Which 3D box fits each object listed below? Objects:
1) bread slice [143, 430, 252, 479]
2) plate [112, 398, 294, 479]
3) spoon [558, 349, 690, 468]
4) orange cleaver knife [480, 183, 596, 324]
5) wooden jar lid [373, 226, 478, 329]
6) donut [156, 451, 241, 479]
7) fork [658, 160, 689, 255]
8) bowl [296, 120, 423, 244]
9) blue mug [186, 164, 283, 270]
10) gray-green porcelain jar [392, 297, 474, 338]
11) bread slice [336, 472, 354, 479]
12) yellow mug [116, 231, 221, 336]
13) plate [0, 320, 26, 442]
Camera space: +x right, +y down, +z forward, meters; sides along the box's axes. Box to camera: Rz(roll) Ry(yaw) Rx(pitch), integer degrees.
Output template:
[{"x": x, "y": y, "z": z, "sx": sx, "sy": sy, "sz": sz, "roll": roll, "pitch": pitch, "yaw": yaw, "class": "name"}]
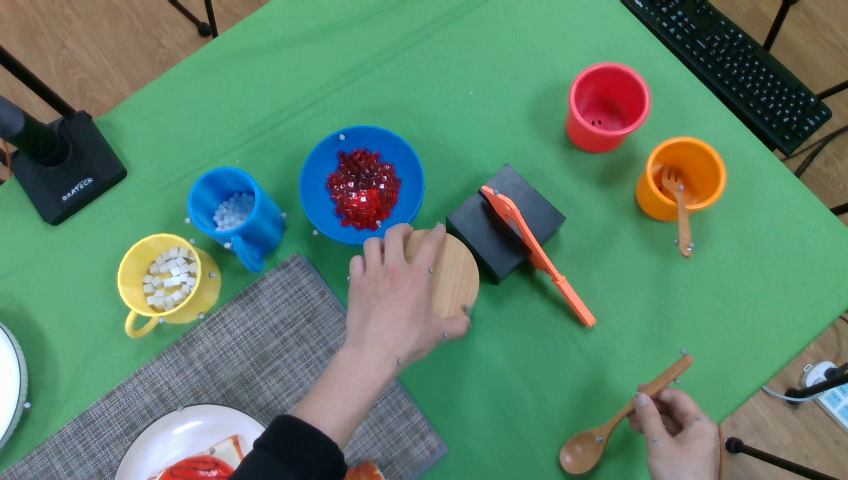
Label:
[{"x": -0.258, "y": 0.293, "z": 0.687, "sx": 0.131, "sy": 0.019, "sz": 0.104, "roll": -24, "pitch": 76, "yaw": -8, "class": "bread slice"}, {"x": -0.246, "y": 0.286, "z": 0.684, "sx": 0.209, "sy": 0.038, "sz": 0.208, "roll": 0, "pitch": 76, "yaw": 2, "class": "plate"}, {"x": 0.215, "y": 0.184, "z": 0.657, "sx": 0.194, "sy": 0.022, "sz": 0.041, "roll": -54, "pitch": 38, "yaw": 26, "class": "spoon"}, {"x": 0.134, "y": 0.016, "z": 0.720, "sx": 0.012, "sy": 0.076, "sz": 0.212, "roll": -40, "pitch": 107, "yaw": -7, "class": "orange cleaver knife"}, {"x": 0.002, "y": 0.039, "z": 0.630, "sx": 0.108, "sy": 0.021, "sz": 0.108, "roll": 0, "pitch": 76, "yaw": 0, "class": "wooden jar lid"}, {"x": -0.244, "y": 0.280, "z": 0.656, "sx": 0.099, "sy": 0.048, "sz": 0.098, "roll": 0, "pitch": 76, "yaw": -1, "class": "donut"}, {"x": 0.288, "y": -0.043, "z": 0.694, "sx": 0.028, "sy": 0.019, "sz": 0.206, "roll": 24, "pitch": 34, "yaw": 1, "class": "fork"}, {"x": -0.074, "y": -0.061, "z": 0.749, "sx": 0.151, "sy": 0.077, "sz": 0.150, "roll": 0, "pitch": 76, "yaw": 2, "class": "bowl"}, {"x": -0.221, "y": -0.019, "z": 0.729, "sx": 0.082, "sy": 0.106, "sz": 0.116, "roll": -18, "pitch": 76, "yaw": -2, "class": "blue mug"}, {"x": 0.005, "y": 0.056, "z": 0.692, "sx": 0.106, "sy": 0.127, "sz": 0.105, "roll": 0, "pitch": 75, "yaw": 2, "class": "gray-green porcelain jar"}, {"x": -0.063, "y": 0.292, "z": 0.631, "sx": 0.018, "sy": 0.135, "sz": 0.106, "roll": -30, "pitch": 74, "yaw": -14, "class": "bread slice"}, {"x": -0.316, "y": 0.059, "z": 0.733, "sx": 0.099, "sy": 0.064, "sz": 0.130, "roll": 29, "pitch": 80, "yaw": 9, "class": "yellow mug"}, {"x": -0.576, "y": 0.180, "z": 0.726, "sx": 0.207, "sy": 0.039, "sz": 0.206, "roll": 0, "pitch": 76, "yaw": 2, "class": "plate"}]
